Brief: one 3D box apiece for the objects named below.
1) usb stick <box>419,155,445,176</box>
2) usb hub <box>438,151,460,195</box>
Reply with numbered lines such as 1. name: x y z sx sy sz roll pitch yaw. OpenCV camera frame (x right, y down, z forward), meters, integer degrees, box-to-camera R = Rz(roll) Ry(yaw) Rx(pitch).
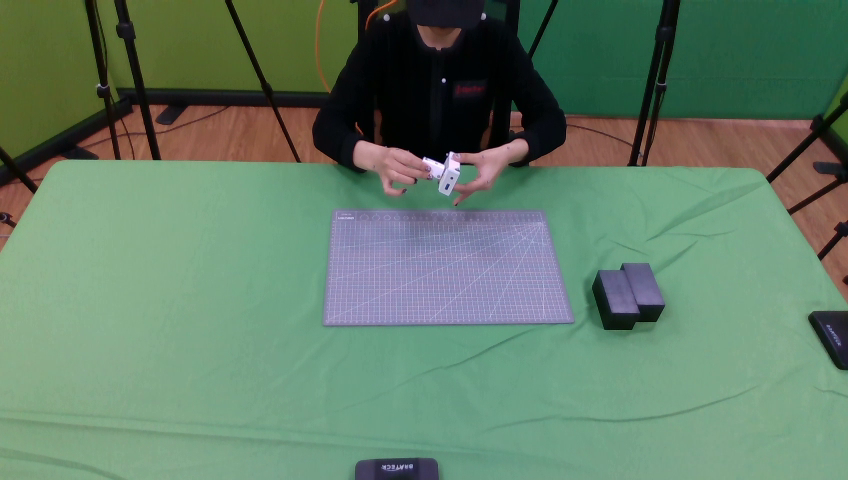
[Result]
1. usb stick: 0.021 -0.141 1.172 0.059 0.027 0.021 18 28 -19
2. usb hub: 0.049 -0.132 1.176 0.025 0.049 0.124 23 24 -7
